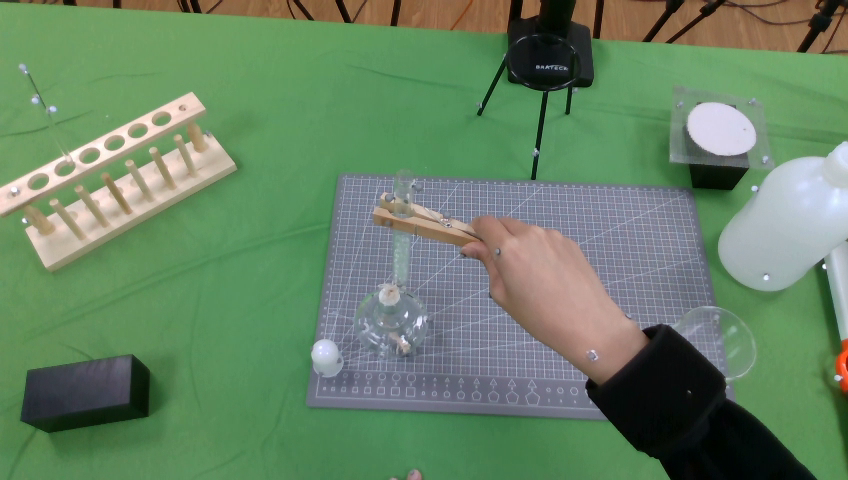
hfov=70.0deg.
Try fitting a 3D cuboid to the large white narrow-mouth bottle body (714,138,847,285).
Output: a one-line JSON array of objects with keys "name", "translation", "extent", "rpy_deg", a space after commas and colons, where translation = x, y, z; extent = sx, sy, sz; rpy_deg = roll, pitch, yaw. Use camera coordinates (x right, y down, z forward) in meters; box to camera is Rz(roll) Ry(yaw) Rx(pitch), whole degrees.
[{"name": "large white narrow-mouth bottle body", "translation": [0.395, -0.035, 0.645], "extent": [0.102, 0.196, 0.101], "rpy_deg": [0, 60, 0]}]

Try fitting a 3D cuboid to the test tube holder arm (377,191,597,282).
[{"name": "test tube holder arm", "translation": [0.046, -0.004, 0.469], "extent": [0.178, 0.015, 0.013], "rpy_deg": [19, 63, 10]}]

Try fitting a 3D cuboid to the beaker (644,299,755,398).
[{"name": "beaker", "translation": [0.269, 0.113, 0.610], "extent": [0.084, 0.101, 0.073], "rpy_deg": [7, 60, 4]}]

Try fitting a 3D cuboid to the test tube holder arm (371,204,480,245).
[{"name": "test tube holder arm", "translation": [0.002, -0.012, 0.473], "extent": [0.087, 0.015, 0.010], "rpy_deg": [13, 62, 7]}]

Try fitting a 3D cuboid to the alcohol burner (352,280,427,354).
[{"name": "alcohol burner", "translation": [-0.035, 0.072, 0.618], "extent": [0.078, 0.120, 0.077], "rpy_deg": [2, 60, -2]}]

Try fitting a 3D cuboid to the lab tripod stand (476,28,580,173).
[{"name": "lab tripod stand", "translation": [0.137, -0.180, 0.755], "extent": [0.148, 0.132, 0.147], "rpy_deg": [1, 62, -2]}]

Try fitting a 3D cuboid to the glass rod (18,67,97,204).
[{"name": "glass rod", "translation": [-0.388, -0.100, 0.650], "extent": [0.008, 0.201, 0.008], "rpy_deg": [3, 52, -3]}]

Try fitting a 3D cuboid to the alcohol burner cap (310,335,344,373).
[{"name": "alcohol burner cap", "translation": [-0.103, 0.118, 0.632], "extent": [0.034, 0.048, 0.033], "rpy_deg": [0, 62, 1]}]

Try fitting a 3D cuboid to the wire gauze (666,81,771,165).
[{"name": "wire gauze", "translation": [0.365, -0.146, 0.757], "extent": [0.121, 0.011, 0.124], "rpy_deg": [9, 61, 4]}]

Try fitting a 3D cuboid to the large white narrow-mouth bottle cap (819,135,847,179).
[{"name": "large white narrow-mouth bottle cap", "translation": [0.396, -0.079, 0.571], "extent": [0.038, 0.024, 0.037], "rpy_deg": [1, 60, -1]}]

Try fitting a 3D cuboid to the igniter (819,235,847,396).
[{"name": "igniter", "translation": [0.468, 0.113, 0.660], "extent": [0.057, 0.025, 0.274], "rpy_deg": [12, 61, -6]}]

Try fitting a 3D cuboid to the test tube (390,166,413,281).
[{"name": "test tube", "translation": [-0.019, -0.008, 0.500], "extent": [0.017, 0.151, 0.017], "rpy_deg": [2, 56, -2]}]

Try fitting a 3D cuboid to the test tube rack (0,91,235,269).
[{"name": "test tube rack", "translation": [-0.355, -0.072, 0.711], "extent": [0.242, 0.086, 0.066], "rpy_deg": [-34, 67, -18]}]
